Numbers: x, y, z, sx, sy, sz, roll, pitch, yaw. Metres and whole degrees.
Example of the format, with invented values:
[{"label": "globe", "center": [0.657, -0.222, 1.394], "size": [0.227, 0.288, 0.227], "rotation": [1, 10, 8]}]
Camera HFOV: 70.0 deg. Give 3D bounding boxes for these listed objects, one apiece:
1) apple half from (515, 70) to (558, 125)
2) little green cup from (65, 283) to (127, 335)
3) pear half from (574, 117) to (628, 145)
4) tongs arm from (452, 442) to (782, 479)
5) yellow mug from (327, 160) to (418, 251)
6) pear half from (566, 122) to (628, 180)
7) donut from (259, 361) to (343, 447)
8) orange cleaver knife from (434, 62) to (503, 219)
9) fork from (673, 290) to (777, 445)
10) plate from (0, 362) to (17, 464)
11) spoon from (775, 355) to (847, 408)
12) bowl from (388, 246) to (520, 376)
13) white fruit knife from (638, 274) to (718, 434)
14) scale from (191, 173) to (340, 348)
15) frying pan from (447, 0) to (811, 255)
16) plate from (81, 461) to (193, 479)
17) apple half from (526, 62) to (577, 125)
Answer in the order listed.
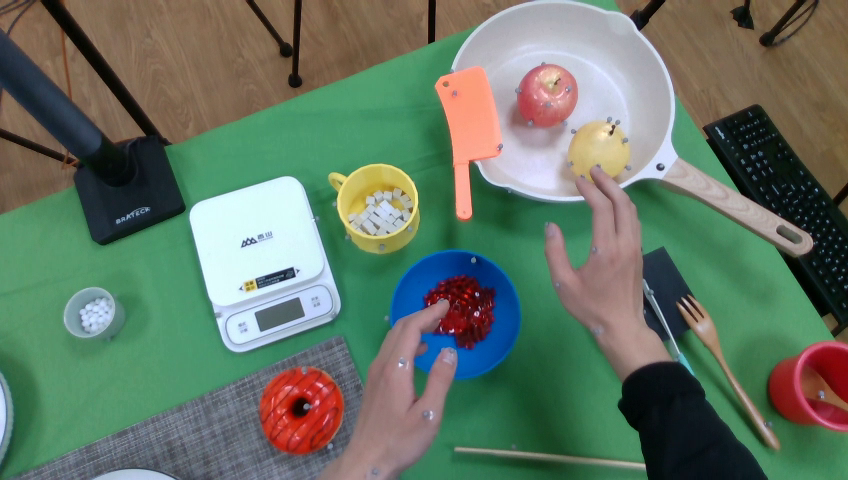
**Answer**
[{"label": "apple half", "center": [0.141, -0.179, 0.800], "size": [0.033, 0.082, 0.081], "rotation": [-31, 75, -13]}, {"label": "little green cup", "center": [-0.398, 0.087, 0.741], "size": [0.061, 0.039, 0.061], "rotation": [0, 72, 0]}, {"label": "pear half", "center": [0.229, -0.141, 0.781], "size": [0.070, 0.088, 0.031], "rotation": [11, 74, 6]}, {"label": "tongs arm", "center": [0.224, 0.259, 0.694], "size": [0.387, 0.028, 0.028], "rotation": [6, 65, 2]}, {"label": "yellow mug", "center": [-0.071, -0.051, 0.769], "size": [0.130, 0.064, 0.099], "rotation": [32, 75, 10]}, {"label": "pear half", "center": [0.219, -0.111, 0.762], "size": [0.076, 0.110, 0.055], "rotation": [12, 73, 8]}, {"label": "donut", "center": [-0.143, 0.190, 0.703], "size": [0.099, 0.048, 0.098], "rotation": [0, 74, 2]}, {"label": "orange cleaver knife", "center": [0.058, -0.128, 0.755], "size": [0.077, 0.012, 0.210], "rotation": [-5, 74, -1]}, {"label": "fork", "center": [0.356, 0.150, 0.710], "size": [0.028, 0.018, 0.207], "rotation": [-32, 91, -12]}, {"label": "plate", "center": [-0.573, 0.217, 0.701], "size": [0.208, 0.039, 0.206], "rotation": [0, 73, 0]}, {"label": "spoon", "center": [0.469, 0.186, 0.657], "size": [0.041, 0.022, 0.191], "rotation": [-28, 31, -9]}, {"label": "bowl", "center": [0.034, 0.089, 0.721], "size": [0.151, 0.077, 0.150], "rotation": [0, 74, 0]}, {"label": "white fruit knife", "center": [0.294, 0.134, 0.708], "size": [0.016, 0.027, 0.207], "rotation": [-25, 89, -5]}, {"label": "scale", "center": [-0.202, 0.022, 0.765], "size": [0.149, 0.032, 0.199], "rotation": [-19, 74, -5]}, {"label": "frying pan", "center": [0.253, -0.123, 0.773], "size": [0.484, 0.103, 0.306], "rotation": [37, 77, 19]}, {"label": "plate", "center": [-0.318, 0.348, 0.657], "size": [0.209, 0.038, 0.208], "rotation": [0, 73, 0]}, {"label": "apple half", "center": [0.173, -0.199, 0.807], "size": [0.053, 0.075, 0.080], "rotation": [-31, 72, -13]}]
